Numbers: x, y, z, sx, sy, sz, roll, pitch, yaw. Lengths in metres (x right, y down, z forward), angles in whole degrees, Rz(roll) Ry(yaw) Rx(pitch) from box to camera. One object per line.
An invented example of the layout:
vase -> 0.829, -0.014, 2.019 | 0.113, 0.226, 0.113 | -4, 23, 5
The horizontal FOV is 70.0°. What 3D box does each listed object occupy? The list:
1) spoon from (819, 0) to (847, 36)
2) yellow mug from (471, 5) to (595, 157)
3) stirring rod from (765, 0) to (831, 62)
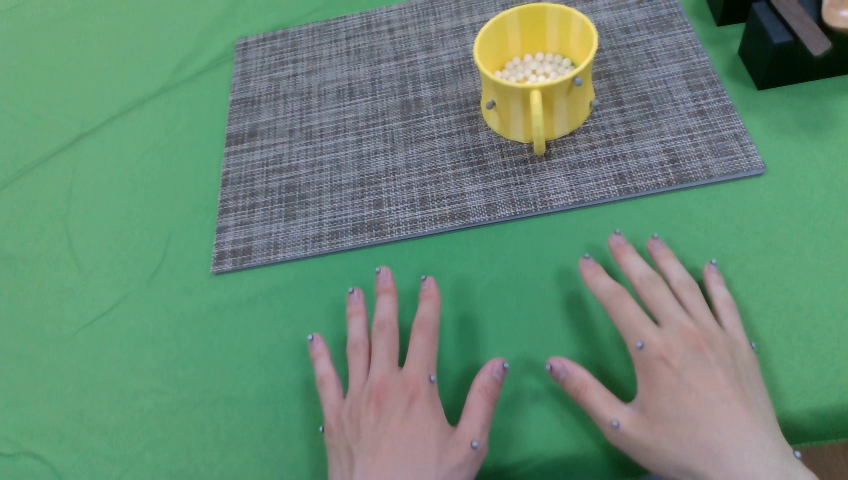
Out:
spoon -> 0.320, -0.223, 0.493 | 0.041, 0.022, 0.192 | -9, 55, 11
yellow mug -> 0.092, -0.128, 0.507 | 0.100, 0.064, 0.129 | -3, 58, 10
stirring rod -> 0.281, -0.207, 0.495 | 0.014, 0.006, 0.174 | -34, 51, 31
